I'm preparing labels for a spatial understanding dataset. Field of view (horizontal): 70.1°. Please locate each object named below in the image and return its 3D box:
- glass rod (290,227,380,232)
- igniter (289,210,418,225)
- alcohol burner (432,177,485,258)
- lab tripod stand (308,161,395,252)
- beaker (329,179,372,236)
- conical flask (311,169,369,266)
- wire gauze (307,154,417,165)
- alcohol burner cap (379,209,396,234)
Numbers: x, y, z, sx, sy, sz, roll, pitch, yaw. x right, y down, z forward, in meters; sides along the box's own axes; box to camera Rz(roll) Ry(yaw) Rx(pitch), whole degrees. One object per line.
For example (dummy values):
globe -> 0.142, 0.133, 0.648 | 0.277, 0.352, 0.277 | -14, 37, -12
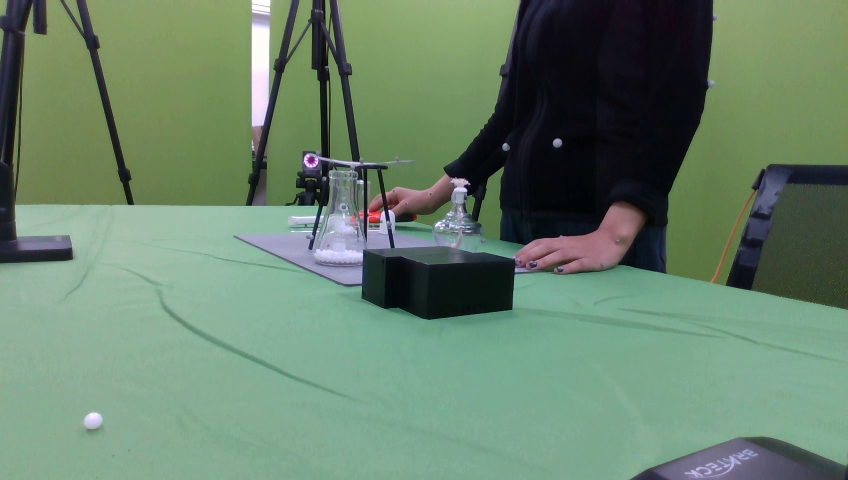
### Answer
glass rod -> -0.161, -0.022, 1.177 | 0.201, 0.008, 0.008 | -2, 8, -28
igniter -> -0.140, -0.046, 1.255 | 0.278, 0.025, 0.057 | -4, 7, -30
alcohol burner -> 0.052, -0.033, 0.894 | 0.078, 0.119, 0.078 | 2, 10, 0
lab tripod stand -> -0.098, -0.053, 0.919 | 0.148, 0.131, 0.148 | 4, 7, 0
beaker -> -0.137, -0.061, 1.101 | 0.084, 0.100, 0.074 | 4, 7, 20
conical flask -> -0.107, -0.031, 0.786 | 0.075, 0.122, 0.075 | 2, 8, 0
wire gauze -> -0.094, -0.120, 0.913 | 0.122, 0.011, 0.124 | -5, 11, -45
alcohol burner cap -> -0.069, -0.036, 1.154 | 0.034, 0.048, 0.034 | 2, 7, 0
